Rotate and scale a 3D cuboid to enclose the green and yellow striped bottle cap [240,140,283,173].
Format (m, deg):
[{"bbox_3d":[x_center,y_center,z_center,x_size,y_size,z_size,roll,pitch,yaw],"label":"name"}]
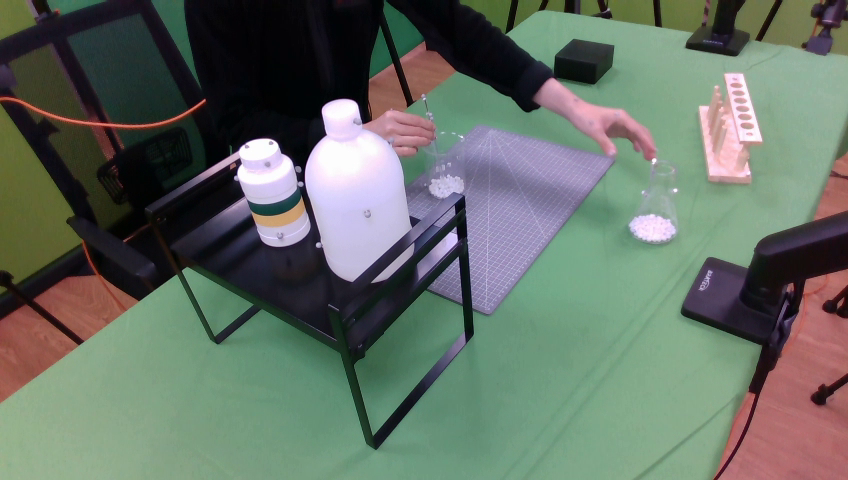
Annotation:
[{"bbox_3d":[-0.183,-0.094,0.679,0.045,0.020,0.045,-5,38,4],"label":"green and yellow striped bottle cap"}]

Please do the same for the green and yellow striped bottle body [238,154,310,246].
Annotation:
[{"bbox_3d":[-0.178,-0.056,0.714,0.063,0.120,0.063,-4,40,4],"label":"green and yellow striped bottle body"}]

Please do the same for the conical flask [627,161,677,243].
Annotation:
[{"bbox_3d":[0.355,-0.061,0.922,0.075,0.122,0.075,-4,41,4],"label":"conical flask"}]

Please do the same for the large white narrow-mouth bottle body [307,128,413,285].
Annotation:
[{"bbox_3d":[-0.070,-0.051,0.638,0.102,0.195,0.101,-3,40,3],"label":"large white narrow-mouth bottle body"}]

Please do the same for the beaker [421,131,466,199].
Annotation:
[{"bbox_3d":[0.040,-0.130,1.060,0.084,0.100,0.073,-24,44,-20],"label":"beaker"}]

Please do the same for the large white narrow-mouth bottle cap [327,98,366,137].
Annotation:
[{"bbox_3d":[-0.075,-0.118,0.582,0.038,0.024,0.037,-3,40,3],"label":"large white narrow-mouth bottle cap"}]

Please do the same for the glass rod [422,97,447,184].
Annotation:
[{"bbox_3d":[0.020,-0.160,1.007,0.008,0.201,0.008,-7,53,10],"label":"glass rod"}]

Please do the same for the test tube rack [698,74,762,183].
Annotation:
[{"bbox_3d":[0.547,-0.208,1.095,0.066,0.085,0.242,5,42,15],"label":"test tube rack"}]
